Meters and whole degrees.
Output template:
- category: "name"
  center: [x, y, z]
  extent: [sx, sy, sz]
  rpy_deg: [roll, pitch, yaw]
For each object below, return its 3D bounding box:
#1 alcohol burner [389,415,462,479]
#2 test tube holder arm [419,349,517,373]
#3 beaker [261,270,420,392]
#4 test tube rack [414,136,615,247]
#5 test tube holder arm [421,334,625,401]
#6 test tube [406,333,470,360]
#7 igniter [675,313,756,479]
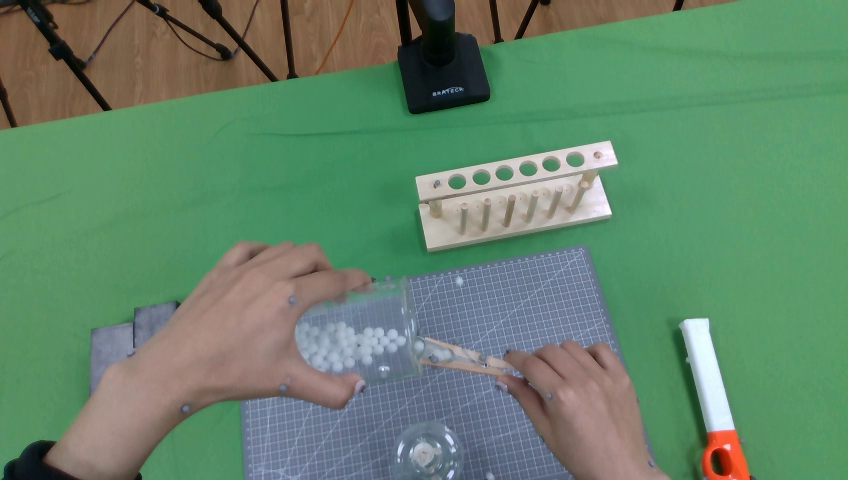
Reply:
- category: "alcohol burner"
  center: [0.001, 0.218, 0.629]
  extent: [0.078, 0.120, 0.077]
  rpy_deg: [-1, 65, 2]
- category: "test tube holder arm"
  center: [0.039, 0.107, 0.534]
  extent: [0.087, 0.015, 0.010]
  rpy_deg: [5, 82, 14]
- category: "beaker"
  center: [-0.058, 0.068, 0.436]
  extent: [0.100, 0.085, 0.073]
  rpy_deg: [-10, 58, 1]
- category: "test tube rack"
  center: [0.113, -0.058, 0.760]
  extent: [0.242, 0.086, 0.066]
  rpy_deg: [-11, 66, -2]
- category: "test tube holder arm"
  center: [0.083, 0.109, 0.523]
  extent: [0.178, 0.015, 0.013]
  rpy_deg: [12, 84, 15]
- category: "test tube"
  center: [0.016, 0.099, 0.537]
  extent: [0.017, 0.151, 0.017]
  rpy_deg: [-5, 74, 18]
- category: "igniter"
  center: [0.324, 0.215, 0.666]
  extent: [0.057, 0.025, 0.274]
  rpy_deg: [-1, 67, -8]
